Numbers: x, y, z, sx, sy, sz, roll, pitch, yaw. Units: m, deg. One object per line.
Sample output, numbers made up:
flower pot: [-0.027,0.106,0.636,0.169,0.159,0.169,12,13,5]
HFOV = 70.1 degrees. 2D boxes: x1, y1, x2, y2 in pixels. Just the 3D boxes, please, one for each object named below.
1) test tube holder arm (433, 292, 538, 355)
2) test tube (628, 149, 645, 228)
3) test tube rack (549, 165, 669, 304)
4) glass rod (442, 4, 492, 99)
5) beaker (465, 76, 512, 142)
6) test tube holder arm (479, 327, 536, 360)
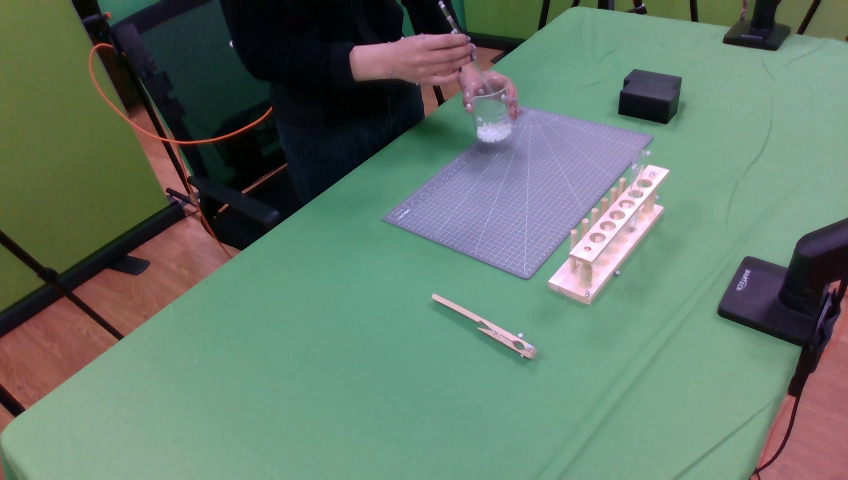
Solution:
test tube holder arm: [0.081,0.112,0.832,0.177,0.015,0.013,28,82,36]
test tube: [0.309,-0.071,0.882,0.017,0.151,0.017,-7,47,8]
test tube rack: [0.279,-0.018,0.902,0.066,0.085,0.243,24,50,33]
glass rod: [0.074,-0.307,1.004,0.008,0.201,0.008,-17,49,21]
beaker: [0.118,-0.234,1.098,0.084,0.101,0.073,-33,41,-21]
test tube holder arm: [0.110,0.134,0.805,0.087,0.015,0.010,29,82,36]
